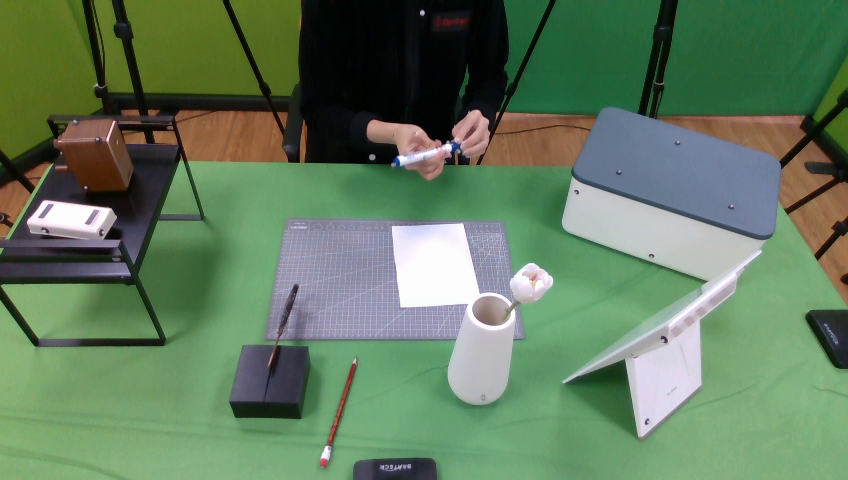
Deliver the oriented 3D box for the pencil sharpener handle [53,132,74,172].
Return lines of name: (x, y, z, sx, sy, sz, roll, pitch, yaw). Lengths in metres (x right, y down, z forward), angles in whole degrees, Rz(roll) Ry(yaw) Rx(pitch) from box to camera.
pencil sharpener handle: (-0.578, -0.138, 0.961, 0.031, 0.068, 0.036, -4, 34, -7)

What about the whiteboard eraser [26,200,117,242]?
whiteboard eraser: (-0.532, -0.026, 0.919, 0.113, 0.042, 0.055, 7, 45, 3)

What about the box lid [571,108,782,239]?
box lid: (0.491, -0.139, 1.168, 0.370, 0.015, 0.262, 20, 49, 15)

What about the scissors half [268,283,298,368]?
scissors half: (-0.230, 0.135, 0.986, 0.013, 0.040, 0.174, 19, 43, -11)

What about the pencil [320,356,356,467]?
pencil: (-0.130, 0.261, 0.946, 0.012, 0.012, 0.193, 10, 45, 5)

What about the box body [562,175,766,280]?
box body: (0.486, -0.088, 1.222, 0.363, 0.161, 0.253, 20, 48, 15)

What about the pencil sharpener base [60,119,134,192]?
pencil sharpener base: (-0.528, -0.135, 0.979, 0.077, 0.107, 0.061, -4, 47, -7)

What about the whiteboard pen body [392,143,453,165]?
whiteboard pen body: (0.007, -0.150, 1.038, 0.141, 0.017, 0.017, -19, 51, -29)

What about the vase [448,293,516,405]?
vase: (0.091, 0.169, 0.921, 0.098, 0.201, 0.097, 3, 47, -3)

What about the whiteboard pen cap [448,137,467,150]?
whiteboard pen cap: (0.057, -0.169, 1.069, 0.033, 0.018, 0.018, -23, 52, -31)

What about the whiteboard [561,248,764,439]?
whiteboard: (0.386, 0.176, 0.905, 0.217, 0.306, 0.143, -26, 72, -27)

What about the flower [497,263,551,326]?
flower: (0.103, 0.121, 0.853, 0.044, 0.363, 0.038, -1, 64, -9)

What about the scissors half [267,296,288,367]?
scissors half: (-0.239, 0.150, 0.997, 0.013, 0.040, 0.174, 24, 24, -13)
